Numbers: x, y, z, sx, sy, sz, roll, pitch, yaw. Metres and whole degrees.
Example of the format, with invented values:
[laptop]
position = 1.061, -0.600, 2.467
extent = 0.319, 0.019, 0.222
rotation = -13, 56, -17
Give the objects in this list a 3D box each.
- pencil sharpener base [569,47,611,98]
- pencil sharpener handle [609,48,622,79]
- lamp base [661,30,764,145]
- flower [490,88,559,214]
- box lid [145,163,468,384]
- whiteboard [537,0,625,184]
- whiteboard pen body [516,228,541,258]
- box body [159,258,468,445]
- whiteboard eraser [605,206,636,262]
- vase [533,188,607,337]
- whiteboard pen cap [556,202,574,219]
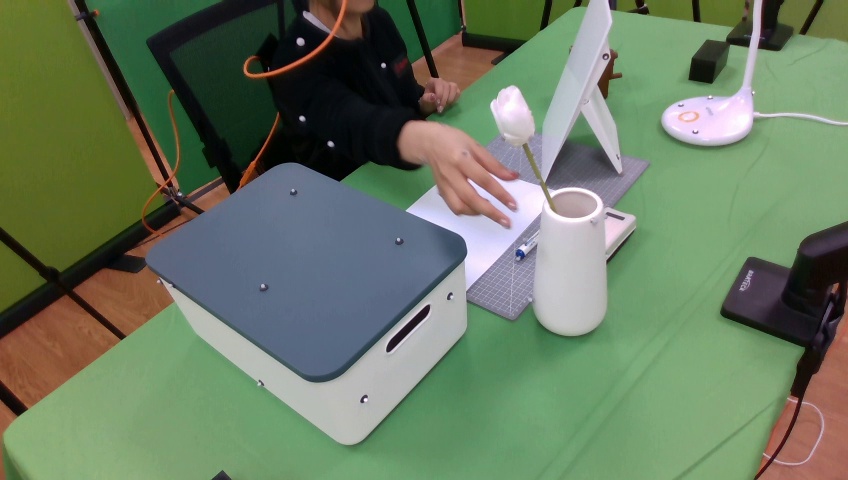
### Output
[pencil sharpener base]
position = 0.346, -0.352, 1.262
extent = 0.077, 0.107, 0.061
rotation = -10, 40, -1
[pencil sharpener handle]
position = 0.395, -0.368, 1.254
extent = 0.031, 0.068, 0.036
rotation = -10, 32, -1
[lamp base]
position = 0.535, -0.287, 1.096
extent = 0.179, 0.181, 0.159
rotation = -10, 40, -4
[flower]
position = 0.158, -0.027, 0.720
extent = 0.038, 0.364, 0.044
rotation = -14, 44, 23
[box lid]
position = -0.157, 0.014, 0.769
extent = 0.368, 0.015, 0.264
rotation = 25, 51, 33
[whiteboard]
position = 0.316, -0.256, 1.047
extent = 0.144, 0.306, 0.216
rotation = 15, 42, -1
[whiteboard pen body]
position = 0.192, -0.015, 0.964
extent = 0.017, 0.017, 0.141
rotation = 26, 51, 34
[box body]
position = -0.147, 0.072, 0.816
extent = 0.361, 0.161, 0.255
rotation = 24, 50, 33
[whiteboard eraser]
position = 0.273, -0.003, 0.919
extent = 0.055, 0.042, 0.113
rotation = 27, 51, 33
[vase]
position = 0.187, 0.033, 0.771
extent = 0.098, 0.201, 0.097
rotation = -6, 41, 6
[whiteboard pen cap]
position = 0.231, -0.048, 0.994
extent = 0.018, 0.018, 0.033
rotation = 26, 54, 34
